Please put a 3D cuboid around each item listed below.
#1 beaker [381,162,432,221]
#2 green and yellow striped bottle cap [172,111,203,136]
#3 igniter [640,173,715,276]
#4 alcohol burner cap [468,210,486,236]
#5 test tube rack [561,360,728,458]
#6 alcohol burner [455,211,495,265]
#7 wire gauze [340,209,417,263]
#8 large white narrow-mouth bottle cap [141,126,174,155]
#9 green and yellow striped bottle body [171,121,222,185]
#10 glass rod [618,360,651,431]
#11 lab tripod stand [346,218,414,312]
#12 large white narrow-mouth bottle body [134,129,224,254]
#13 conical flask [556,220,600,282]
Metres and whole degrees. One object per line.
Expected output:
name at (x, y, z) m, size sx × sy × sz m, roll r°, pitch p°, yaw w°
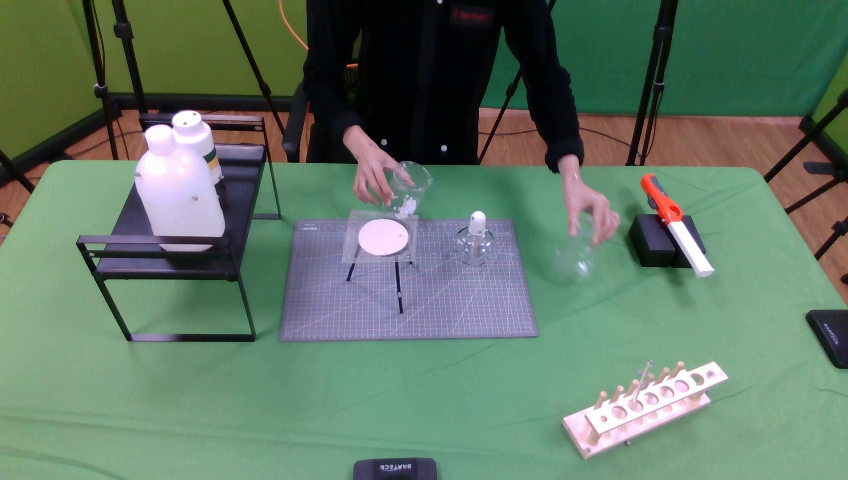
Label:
beaker at (-0.036, -0.092, 1.177) m, size 0.084 × 0.100 × 0.073 m, roll 1°, pitch 54°, yaw -23°
green and yellow striped bottle cap at (-0.374, -0.185, 0.958) m, size 0.045 × 0.020 × 0.045 m, roll 4°, pitch 46°, yaw -4°
igniter at (0.495, -0.039, 1.204) m, size 0.057 × 0.025 × 0.274 m, roll -2°, pitch 47°, yaw -12°
alcohol burner cap at (0.100, -0.034, 1.119) m, size 0.034 × 0.048 × 0.033 m, roll 0°, pitch 53°, yaw 0°
test tube rack at (0.341, 0.248, 0.940) m, size 0.243 × 0.085 × 0.066 m, roll -15°, pitch 49°, yaw -18°
alcohol burner at (0.097, -0.010, 1.147) m, size 0.078 × 0.120 × 0.077 m, roll 1°, pitch 47°, yaw -1°
wire gauze at (-0.074, -0.007, 1.023) m, size 0.121 × 0.011 × 0.124 m, roll 3°, pitch 46°, yaw 0°
large white narrow-mouth bottle cap at (-0.356, -0.133, 0.811) m, size 0.038 × 0.024 × 0.037 m, roll 2°, pitch 48°, yaw -2°
green and yellow striped bottle body at (-0.375, -0.149, 0.995) m, size 0.063 × 0.120 × 0.063 m, roll 2°, pitch 46°, yaw -2°
glass rod at (0.298, 0.227, 0.865) m, size 0.008 × 0.201 × 0.008 m, roll -2°, pitch 48°, yaw 2°
lab tripod stand at (-0.070, 0.037, 1.075) m, size 0.148 × 0.132 × 0.147 m, roll 1°, pitch 47°, yaw -1°
large white narrow-mouth bottle body at (-0.358, -0.075, 0.875) m, size 0.102 × 0.195 × 0.101 m, roll 1°, pitch 48°, yaw -1°
conical flask at (0.286, 0.017, 1.096) m, size 0.075 × 0.122 × 0.075 m, roll 1°, pitch 53°, yaw -1°
